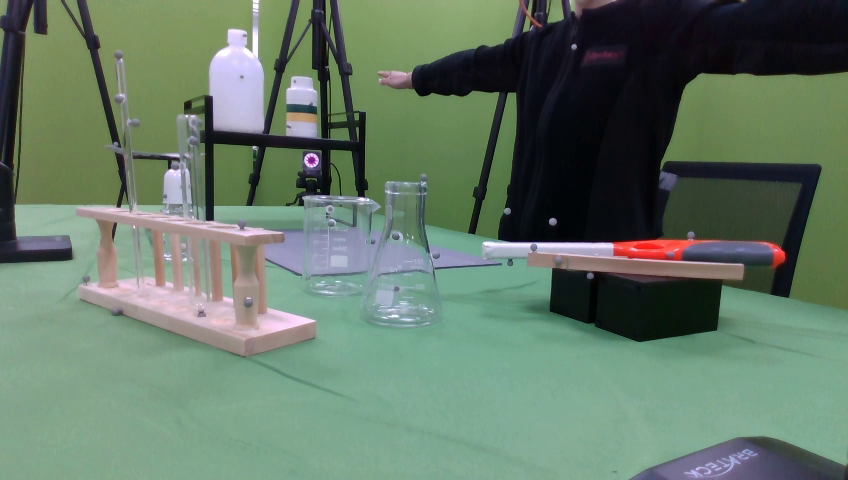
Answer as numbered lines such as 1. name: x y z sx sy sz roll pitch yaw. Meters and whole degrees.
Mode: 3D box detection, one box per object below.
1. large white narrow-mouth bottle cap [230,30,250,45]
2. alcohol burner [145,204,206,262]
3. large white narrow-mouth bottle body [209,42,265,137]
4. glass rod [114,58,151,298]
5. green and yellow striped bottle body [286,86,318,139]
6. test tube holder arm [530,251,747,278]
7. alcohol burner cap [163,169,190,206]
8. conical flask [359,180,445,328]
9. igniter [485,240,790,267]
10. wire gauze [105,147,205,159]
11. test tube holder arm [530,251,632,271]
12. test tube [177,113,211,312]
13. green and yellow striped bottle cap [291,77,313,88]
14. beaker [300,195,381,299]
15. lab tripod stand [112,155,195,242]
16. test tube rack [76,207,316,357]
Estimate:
1. large white narrow-mouth bottle cap: -0.354 -0.389 1.167 0.038 0.024 0.037 4 6 0
2. alcohol burner: -0.321 -0.032 0.788 0.078 0.119 0.078 0 7 0
3. large white narrow-mouth bottle body: -0.361 -0.303 1.175 0.102 0.194 0.102 4 6 0
4. glass rod: -0.236 -0.044 0.492 0.008 0.199 0.008 0 15 0
5. green and yellow striped bottle body: -0.251 -0.270 1.245 0.063 0.119 0.063 2 7 0
6. test tube holder arm: 0.182 0.022 0.523 0.178 0.015 0.013 3 7 12
7. alcohol burner cap: -0.320 -0.068 0.782 0.034 0.048 0.034 1 7 0
8. conical flask: -0.017 0.010 0.522 0.075 0.122 0.075 2 7 0
9. igniter: 0.197 0.012 0.585 0.276 0.025 0.057 1 5 12
10. wire gauze: -0.407 -0.131 0.928 0.125 0.011 0.121 2 6 -11
11. test tube holder arm: 0.139 0.019 0.538 0.087 0.015 0.010 3 7 13
12. test tube: -0.174 -0.020 0.458 0.017 0.150 0.017 -2 5 0
13. green and yellow striped bottle cap: -0.250 -0.321 1.238 0.045 0.020 0.045 3 6 0
14. beaker: -0.087 0.006 0.626 0.084 0.100 0.074 1 8 -17
15. lab tripod stand: -0.405 -0.064 0.931 0.148 0.131 0.148 1 6 0
16. test tube rack: -0.196 0.023 0.500 0.241 0.085 0.067 8 9 36
